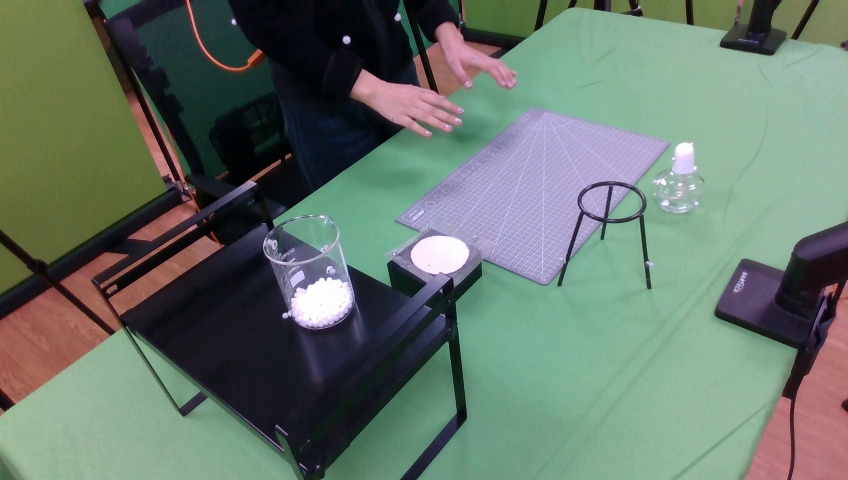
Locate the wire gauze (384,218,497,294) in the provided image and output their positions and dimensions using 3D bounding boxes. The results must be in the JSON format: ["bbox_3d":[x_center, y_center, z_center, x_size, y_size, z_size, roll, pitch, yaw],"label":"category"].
[{"bbox_3d":[0.024,0.016,0.886,0.124,0.011,0.122,28,49,33],"label":"wire gauze"}]

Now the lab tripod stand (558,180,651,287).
[{"bbox_3d":[0.258,-0.005,0.857,0.148,0.132,0.147,-4,43,4],"label":"lab tripod stand"}]

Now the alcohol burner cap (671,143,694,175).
[{"bbox_3d":[0.403,-0.129,0.941,0.034,0.048,0.033,-9,39,8],"label":"alcohol burner cap"}]

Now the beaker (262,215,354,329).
[{"bbox_3d":[-0.112,0.034,0.616,0.073,0.101,0.084,13,44,23],"label":"beaker"}]

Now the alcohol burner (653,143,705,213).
[{"bbox_3d":[0.408,-0.102,0.963,0.078,0.119,0.077,-6,42,6],"label":"alcohol burner"}]
